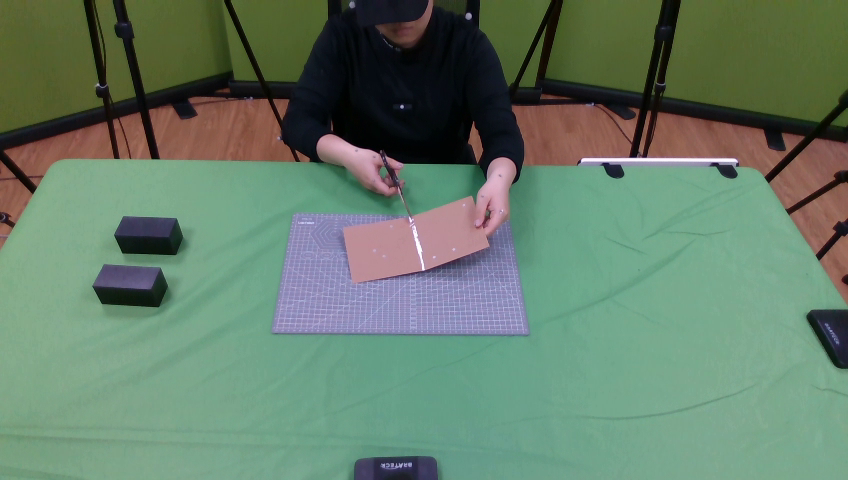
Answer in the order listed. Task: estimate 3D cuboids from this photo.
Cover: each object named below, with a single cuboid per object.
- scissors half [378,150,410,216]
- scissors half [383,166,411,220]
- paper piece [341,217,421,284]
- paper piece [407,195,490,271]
[{"bbox_3d":[-0.058,-0.110,1.237,0.013,0.040,0.174,-24,75,1],"label":"scissors half"},{"bbox_3d":[-0.055,-0.100,1.256,0.013,0.040,0.174,-22,48,-4],"label":"scissors half"},{"bbox_3d":[-0.084,0.017,1.163,0.135,0.004,0.135,-10,54,-7],"label":"paper piece"},{"bbox_3d":[0.044,-0.016,1.166,0.138,0.009,0.135,-19,56,6],"label":"paper piece"}]
